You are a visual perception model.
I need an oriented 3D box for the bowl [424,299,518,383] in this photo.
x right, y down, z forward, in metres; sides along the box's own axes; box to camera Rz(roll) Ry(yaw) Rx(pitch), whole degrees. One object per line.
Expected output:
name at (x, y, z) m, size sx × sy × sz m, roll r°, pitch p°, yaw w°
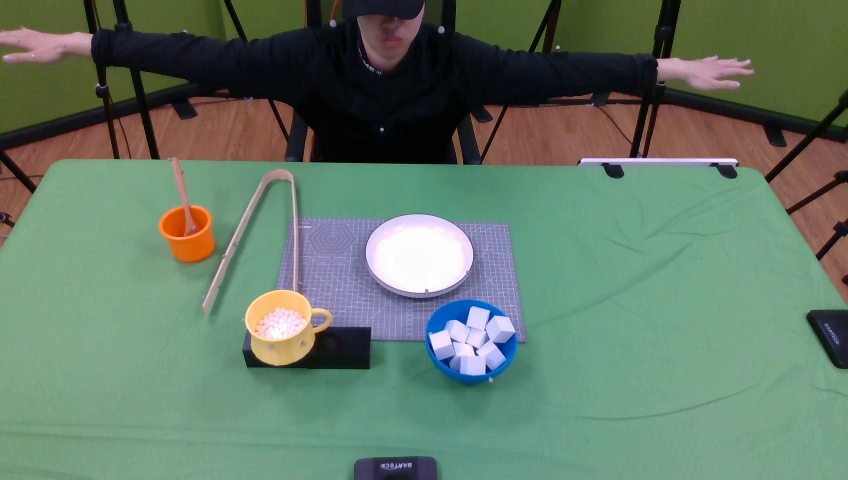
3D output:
bowl at (0.072, 0.179, 0.993) m, size 0.151 × 0.077 × 0.150 m, roll 3°, pitch 46°, yaw -3°

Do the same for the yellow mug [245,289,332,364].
yellow mug at (-0.210, 0.133, 0.954) m, size 0.131 × 0.064 × 0.099 m, roll -9°, pitch 48°, yaw -14°

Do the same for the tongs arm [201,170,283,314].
tongs arm at (-0.342, -0.011, 1.172) m, size 0.051 × 0.026 × 0.382 m, roll 4°, pitch 44°, yaw 2°

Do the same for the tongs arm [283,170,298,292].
tongs arm at (-0.259, -0.008, 1.177) m, size 0.028 × 0.028 × 0.385 m, roll -8°, pitch 46°, yaw -6°

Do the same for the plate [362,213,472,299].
plate at (-0.014, 0.034, 1.150) m, size 0.208 × 0.039 × 0.206 m, roll 3°, pitch 46°, yaw -2°

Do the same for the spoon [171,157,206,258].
spoon at (-0.444, -0.061, 1.133) m, size 0.042 × 0.194 × 0.021 m, roll -12°, pitch 4°, yaw -19°
